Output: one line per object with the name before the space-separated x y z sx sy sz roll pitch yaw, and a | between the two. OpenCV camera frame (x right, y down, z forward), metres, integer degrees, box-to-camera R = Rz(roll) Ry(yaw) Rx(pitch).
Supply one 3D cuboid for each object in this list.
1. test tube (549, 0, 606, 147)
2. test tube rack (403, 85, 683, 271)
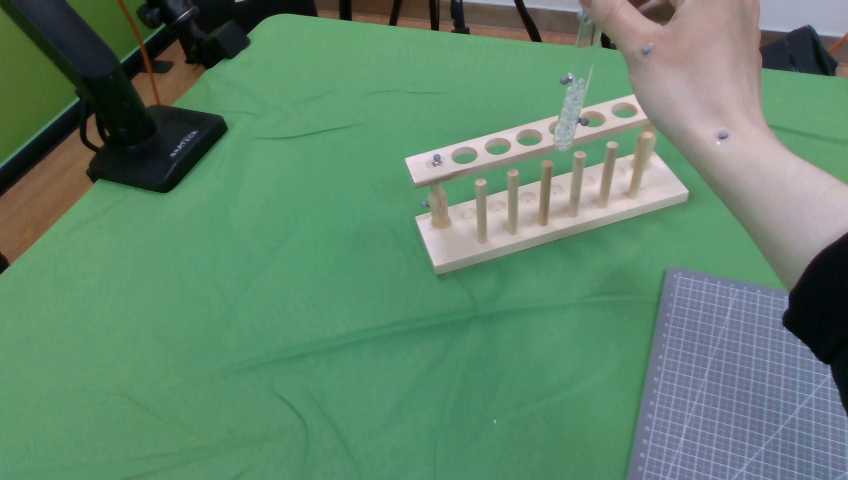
test tube | 0.106 -0.123 0.417 0.017 0.152 0.017 1 50 -1
test tube rack | 0.110 -0.055 0.537 0.242 0.086 0.066 -16 49 -6
